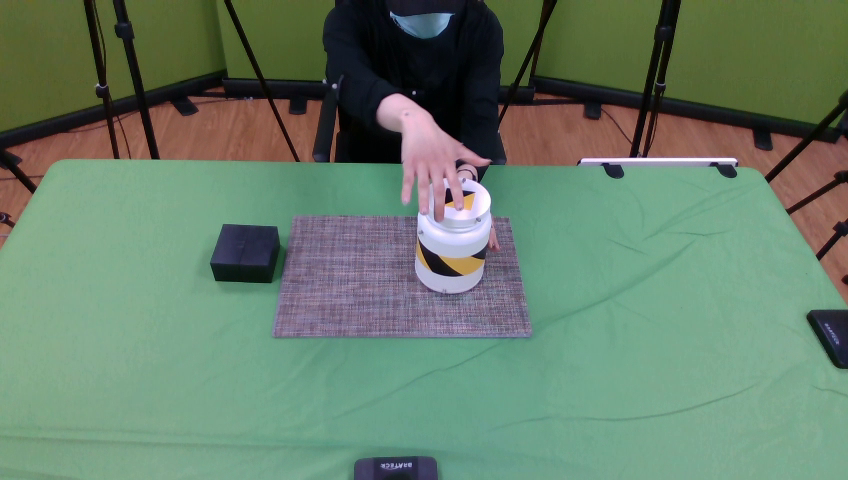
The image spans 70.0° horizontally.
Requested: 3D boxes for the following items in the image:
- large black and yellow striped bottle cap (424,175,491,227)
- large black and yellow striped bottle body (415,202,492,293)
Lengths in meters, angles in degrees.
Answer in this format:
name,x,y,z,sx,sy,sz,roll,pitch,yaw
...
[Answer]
name,x,y,z,sx,sy,sz,roll,pitch,yaw
large black and yellow striped bottle cap,0.057,-0.068,1.024,0.115,0.019,0.114,1,46,-1
large black and yellow striped bottle body,0.052,-0.007,1.088,0.131,0.185,0.130,2,46,-2
